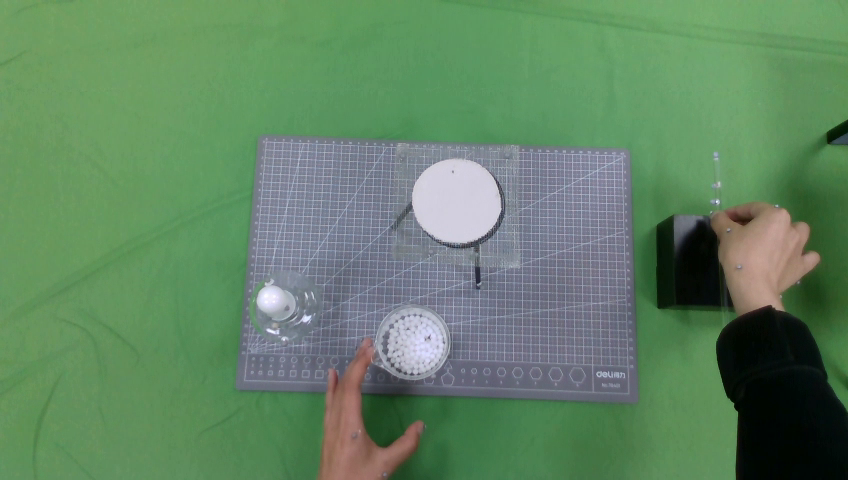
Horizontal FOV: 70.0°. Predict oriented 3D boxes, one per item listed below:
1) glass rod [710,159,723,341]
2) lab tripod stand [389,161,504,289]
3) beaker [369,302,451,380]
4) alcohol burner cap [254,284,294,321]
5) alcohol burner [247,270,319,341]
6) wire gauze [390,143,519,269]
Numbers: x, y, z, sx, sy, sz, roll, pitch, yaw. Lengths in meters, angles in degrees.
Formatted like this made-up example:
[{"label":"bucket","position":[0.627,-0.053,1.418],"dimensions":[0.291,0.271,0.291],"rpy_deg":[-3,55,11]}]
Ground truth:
[{"label":"glass rod","position":[0.319,0.010,0.660],"dimensions":[0.008,0.008,0.199],"rpy_deg":[-1,86,-1]},{"label":"lab tripod stand","position":[0.033,-0.025,0.649],"dimensions":[0.148,0.132,0.147],"rpy_deg":[0,77,-1]},{"label":"beaker","position":[-0.016,0.111,0.639],"dimensions":[0.084,0.100,0.073],"rpy_deg":[-24,80,-6]},{"label":"alcohol burner cap","position":[-0.151,0.061,0.602],"dimensions":[0.034,0.048,0.033],"rpy_deg":[0,73,2]},{"label":"alcohol burner","position":[-0.151,0.068,0.637],"dimensions":[0.078,0.119,0.077],"rpy_deg":[0,80,-2]},{"label":"wire gauze","position":[0.031,-0.035,0.583],"dimensions":[0.125,0.011,0.121],"rpy_deg":[3,79,-1]}]
